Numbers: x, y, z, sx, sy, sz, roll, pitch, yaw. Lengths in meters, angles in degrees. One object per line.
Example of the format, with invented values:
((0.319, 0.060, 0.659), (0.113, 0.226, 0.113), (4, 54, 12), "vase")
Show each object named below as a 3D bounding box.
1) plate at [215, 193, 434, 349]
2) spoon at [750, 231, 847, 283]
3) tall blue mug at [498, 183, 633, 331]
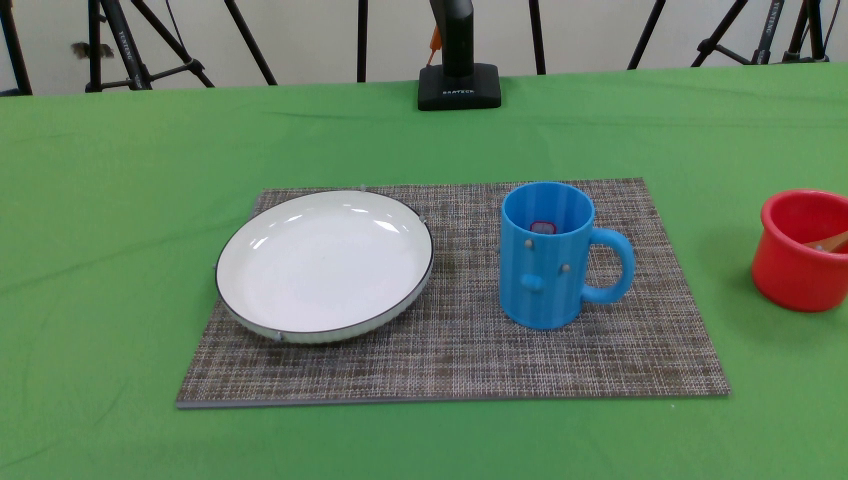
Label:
((-0.093, 0.029, 0.590), (0.207, 0.039, 0.205), (-2, 40, 2), "plate")
((0.377, -0.008, 0.514), (0.194, 0.022, 0.041), (-34, 25, 39), "spoon")
((0.119, 0.015, 0.531), (0.107, 0.109, 0.077), (-6, 39, -2), "tall blue mug")
